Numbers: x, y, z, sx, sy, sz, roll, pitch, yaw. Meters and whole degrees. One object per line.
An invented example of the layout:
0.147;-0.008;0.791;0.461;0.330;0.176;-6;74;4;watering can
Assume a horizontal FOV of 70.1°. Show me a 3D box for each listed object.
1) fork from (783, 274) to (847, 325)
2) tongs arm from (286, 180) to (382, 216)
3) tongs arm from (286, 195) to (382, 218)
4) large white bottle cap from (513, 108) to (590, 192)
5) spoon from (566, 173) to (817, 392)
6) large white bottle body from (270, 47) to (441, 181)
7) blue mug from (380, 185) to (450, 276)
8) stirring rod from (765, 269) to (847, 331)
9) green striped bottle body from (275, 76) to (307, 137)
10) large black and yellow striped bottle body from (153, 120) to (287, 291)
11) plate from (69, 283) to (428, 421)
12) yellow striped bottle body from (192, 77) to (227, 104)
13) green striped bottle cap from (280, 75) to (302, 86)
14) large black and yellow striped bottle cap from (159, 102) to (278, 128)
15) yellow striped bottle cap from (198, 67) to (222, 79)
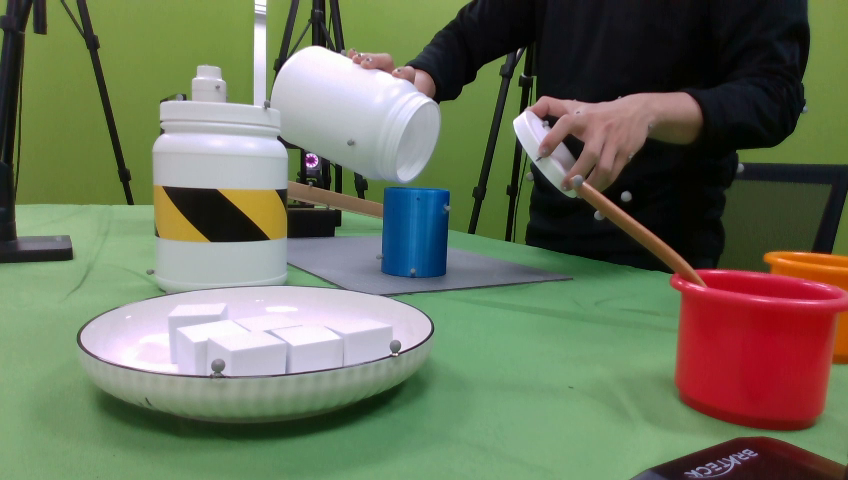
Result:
0.332;0.018;0.443;0.028;0.018;0.207;-2;-36;-15;fork
-0.122;-0.066;1.147;0.387;0.026;0.050;11;-2;-37;tongs arm
-0.165;-0.074;1.216;0.389;0.027;0.028;11;-6;-24;tongs arm
0.147;-0.104;0.695;0.018;0.114;0.115;-42;-15;27;large white bottle cap
0.161;0.024;0.370;0.193;0.021;0.042;47;18;3;spoon
-0.084;-0.157;0.765;0.184;0.130;0.131;25;15;20;large white bottle body
-0.018;-0.016;0.764;0.083;0.106;0.116;-1;8;-25;blue mug
0.351;0.020;0.484;0.176;0.006;0.014;-40;-7;12;stirring rod
-0.269;-0.269;1.221;0.063;0.119;0.063;2;7;0;green striped bottle body
-0.208;-0.042;0.626;0.131;0.184;0.130;2;7;0;large black and yellow striped bottle body
-0.102;0.066;0.380;0.208;0.039;0.207;2;7;0;plate
-0.414;-0.268;1.169;0.063;0.120;0.063;2;7;0;yellow striped bottle body
-0.267;-0.320;1.216;0.044;0.020;0.044;3;9;0;green striped bottle cap
-0.207;-0.125;0.615;0.115;0.019;0.115;2;6;0;large black and yellow striped bottle cap
-0.412;-0.320;1.162;0.044;0.018;0.044;0;5;0;yellow striped bottle cap
